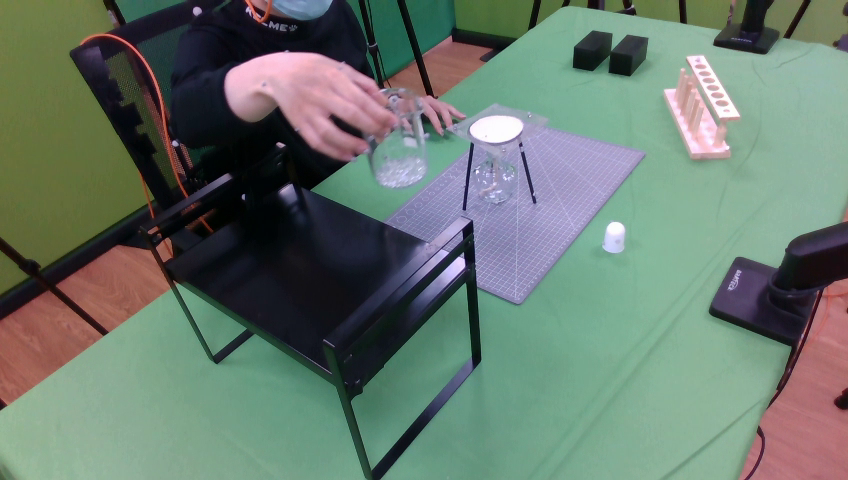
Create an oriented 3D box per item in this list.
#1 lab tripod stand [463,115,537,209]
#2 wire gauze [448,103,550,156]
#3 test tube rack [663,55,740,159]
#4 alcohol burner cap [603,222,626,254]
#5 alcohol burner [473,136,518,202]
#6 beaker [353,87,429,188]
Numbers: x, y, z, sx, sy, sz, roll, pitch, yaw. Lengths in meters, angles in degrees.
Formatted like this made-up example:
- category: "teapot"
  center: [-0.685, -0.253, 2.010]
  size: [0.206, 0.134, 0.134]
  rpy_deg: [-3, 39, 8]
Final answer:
- category: "lab tripod stand"
  center: [0.120, -0.134, 1.018]
  size: [0.148, 0.132, 0.147]
  rpy_deg: [-5, 39, 5]
- category: "wire gauze"
  center: [0.119, -0.184, 0.973]
  size: [0.122, 0.011, 0.124]
  rpy_deg: [-34, 45, -28]
- category: "test tube rack"
  center: [0.518, -0.256, 1.144]
  size: [0.066, 0.085, 0.241]
  rpy_deg: [-1, 41, 8]
- category: "alcohol burner cap"
  center: [0.291, -0.006, 0.921]
  size: [0.034, 0.048, 0.033]
  rpy_deg: [-4, 40, 4]
- category: "alcohol burner"
  center: [0.121, -0.124, 1.023]
  size: [0.078, 0.119, 0.077]
  rpy_deg: [-3, 42, 3]
- category: "beaker"
  center: [-0.032, -0.118, 0.710]
  size: [0.083, 0.101, 0.074]
  rpy_deg: [4, 44, 17]
